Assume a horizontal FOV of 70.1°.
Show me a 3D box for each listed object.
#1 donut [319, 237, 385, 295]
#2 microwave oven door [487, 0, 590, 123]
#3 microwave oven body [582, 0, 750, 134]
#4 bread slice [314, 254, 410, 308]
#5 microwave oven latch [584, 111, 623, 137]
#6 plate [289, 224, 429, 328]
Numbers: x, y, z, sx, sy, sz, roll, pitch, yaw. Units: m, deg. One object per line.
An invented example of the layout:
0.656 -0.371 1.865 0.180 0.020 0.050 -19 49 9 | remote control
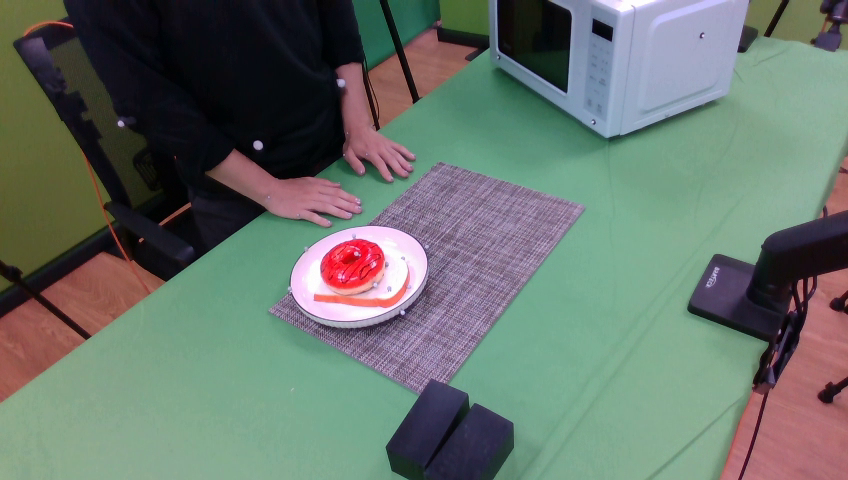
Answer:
-0.105 0.037 0.880 0.099 0.048 0.098 -6 42 6 | donut
0.232 -0.420 1.231 0.039 0.245 0.352 -22 43 -16 | microwave oven door
0.382 -0.444 1.246 0.327 0.261 0.437 -22 42 -16 | microwave oven body
-0.086 0.057 0.901 0.131 0.019 0.104 4 43 15 | bread slice
0.337 -0.222 1.142 0.030 0.029 0.078 -21 42 -14 | microwave oven latch
-0.094 0.054 0.902 0.207 0.039 0.206 -4 41 4 | plate
